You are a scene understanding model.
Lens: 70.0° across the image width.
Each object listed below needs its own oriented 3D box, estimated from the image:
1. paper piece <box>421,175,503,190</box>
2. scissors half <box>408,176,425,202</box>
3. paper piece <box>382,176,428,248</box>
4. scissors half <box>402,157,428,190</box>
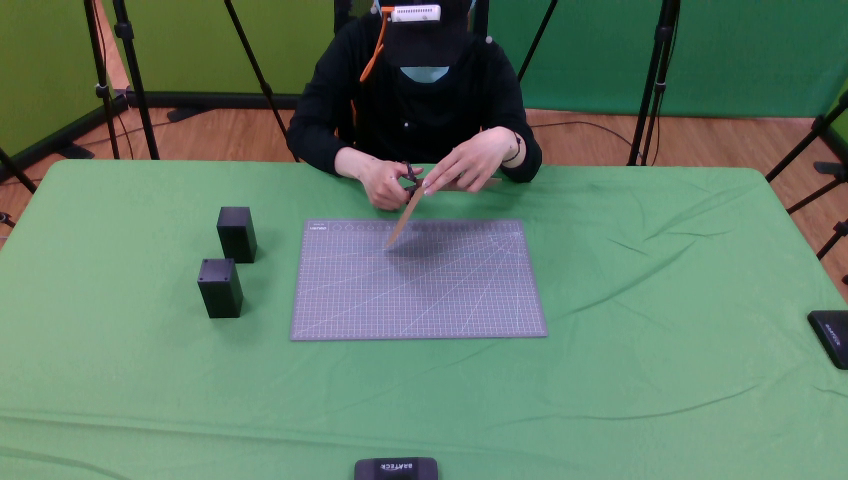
[{"bbox_3d":[0.067,-0.109,1.156,0.138,0.136,0.008,-3,87,-14],"label":"paper piece"},{"bbox_3d":[-0.012,-0.103,1.172,0.013,0.175,0.040,-15,85,-9],"label":"scissors half"},{"bbox_3d":[-0.038,-0.050,1.122,0.004,0.135,0.135,29,79,-9],"label":"paper piece"},{"bbox_3d":[-0.018,-0.125,1.168,0.013,0.040,0.174,-20,28,-8],"label":"scissors half"}]
